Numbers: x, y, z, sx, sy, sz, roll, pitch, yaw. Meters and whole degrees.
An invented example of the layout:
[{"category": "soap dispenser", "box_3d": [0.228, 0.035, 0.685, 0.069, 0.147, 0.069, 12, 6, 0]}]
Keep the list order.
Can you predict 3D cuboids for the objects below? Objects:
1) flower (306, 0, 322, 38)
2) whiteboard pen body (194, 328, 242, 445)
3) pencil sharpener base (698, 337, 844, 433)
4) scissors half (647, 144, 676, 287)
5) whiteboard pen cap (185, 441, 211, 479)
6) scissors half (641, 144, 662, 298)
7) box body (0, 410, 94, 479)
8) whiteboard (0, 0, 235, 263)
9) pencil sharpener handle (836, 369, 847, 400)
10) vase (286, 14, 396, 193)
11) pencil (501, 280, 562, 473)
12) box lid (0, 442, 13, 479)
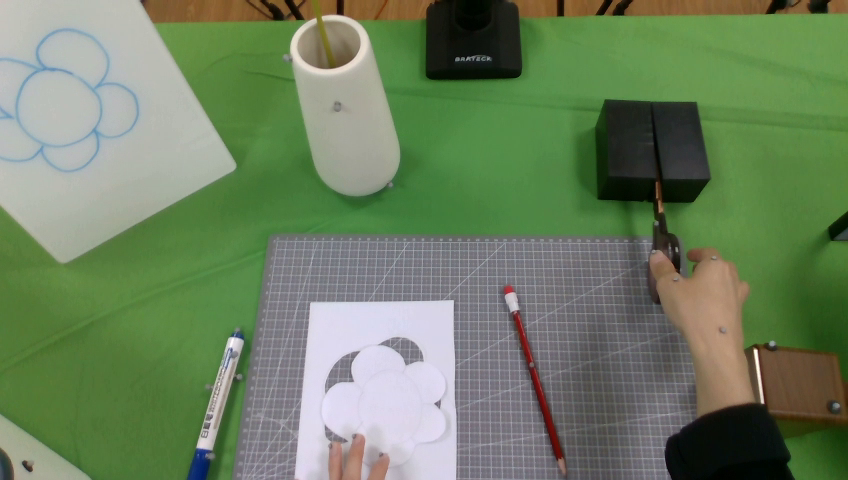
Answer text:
[{"category": "flower", "box_3d": [-0.093, -0.180, 0.549, 0.044, 0.365, 0.038, -6, 47, 3]}, {"category": "whiteboard pen body", "box_3d": [-0.202, 0.152, 0.589, 0.017, 0.017, 0.139, 7, 64, 5]}, {"category": "pencil sharpener base", "box_3d": [0.303, 0.132, 0.536, 0.077, 0.108, 0.061, 4, 65, 0]}, {"category": "scissors half", "box_3d": [0.238, -0.032, 0.618, 0.013, 0.040, 0.173, 7, 56, 0]}, {"category": "whiteboard pen cap", "box_3d": [-0.209, 0.204, 0.563, 0.018, 0.018, 0.033, 6, 61, 5]}, {"category": "scissors half", "box_3d": [0.239, -0.023, 0.636, 0.013, 0.040, 0.174, 5, 74, 4]}, {"category": "box body", "box_3d": [-0.500, 0.217, 0.489, 0.362, 0.161, 0.253, 25, 69, 12]}, {"category": "whiteboard", "box_3d": [-0.377, -0.168, 0.618, 0.217, 0.309, 0.142, -32, 49, -12]}, {"category": "pencil sharpener handle", "box_3d": [0.354, 0.132, 0.524, 0.030, 0.068, 0.035, 4, 59, 1]}, {"category": "vase", "box_3d": [-0.084, -0.132, 0.618, 0.098, 0.201, 0.097, -1, 64, 3]}, {"category": "pencil", "box_3d": [0.105, 0.129, 0.595, 0.012, 0.012, 0.192, -12, 67, -4]}, {"category": "box lid", "box_3d": [-0.504, 0.184, 0.422, 0.370, 0.015, 0.262, 25, 68, 12]}]
